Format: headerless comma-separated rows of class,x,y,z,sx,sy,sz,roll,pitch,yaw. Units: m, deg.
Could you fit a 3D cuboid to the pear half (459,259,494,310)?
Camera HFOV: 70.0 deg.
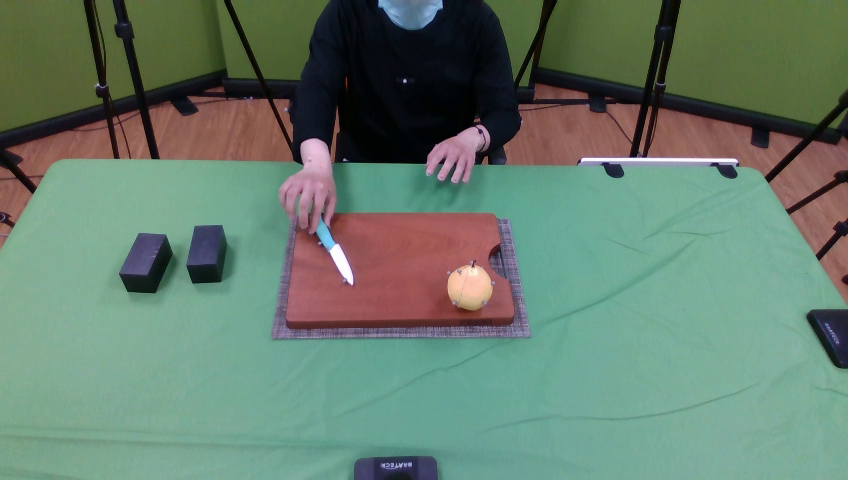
pear half,0.092,0.072,1.031,0.056,0.110,0.076,7,50,3

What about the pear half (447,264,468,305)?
pear half,0.056,0.073,1.041,0.031,0.088,0.070,6,53,2

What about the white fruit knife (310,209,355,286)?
white fruit knife,-0.173,0.013,1.135,0.027,0.016,0.206,-24,51,-14
